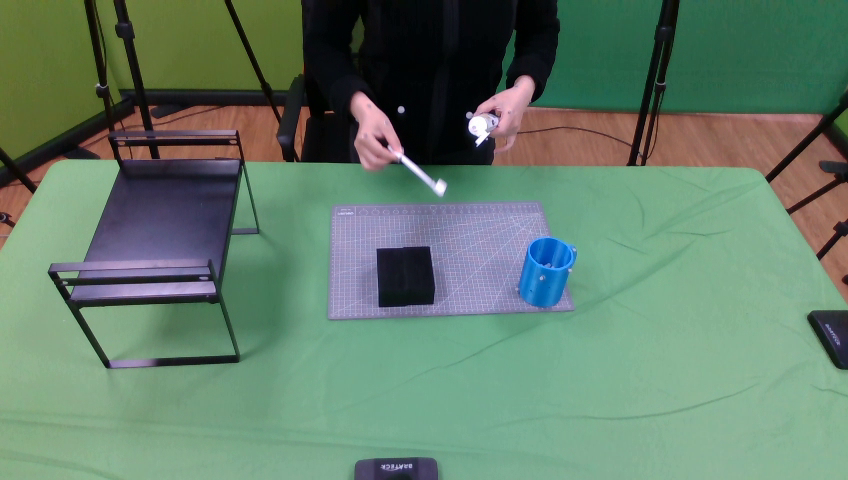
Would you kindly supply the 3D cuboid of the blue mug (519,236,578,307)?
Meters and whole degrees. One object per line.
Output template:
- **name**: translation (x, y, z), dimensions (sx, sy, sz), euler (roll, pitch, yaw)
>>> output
- **blue mug**: translation (0.234, 0.052, 1.102), dimensions (0.116, 0.106, 0.082), euler (-23, 52, -24)

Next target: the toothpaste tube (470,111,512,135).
- **toothpaste tube**: translation (0.123, -0.225, 1.145), dimensions (0.055, 0.034, 0.165), euler (28, 27, 11)

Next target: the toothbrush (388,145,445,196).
- **toothbrush**: translation (-0.016, -0.127, 1.063), dimensions (0.014, 0.017, 0.180), euler (5, 29, -41)

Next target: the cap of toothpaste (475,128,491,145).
- **cap of toothpaste**: translation (0.102, -0.184, 1.067), dimensions (0.011, 0.037, 0.037), euler (44, 52, -6)
